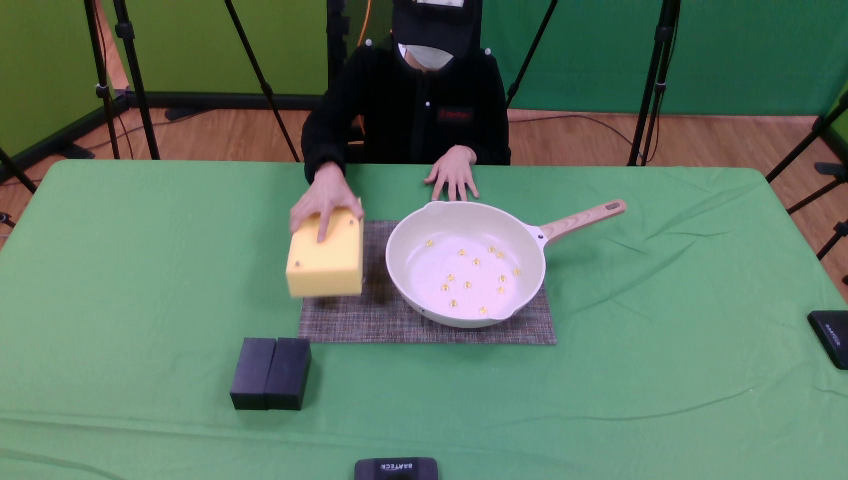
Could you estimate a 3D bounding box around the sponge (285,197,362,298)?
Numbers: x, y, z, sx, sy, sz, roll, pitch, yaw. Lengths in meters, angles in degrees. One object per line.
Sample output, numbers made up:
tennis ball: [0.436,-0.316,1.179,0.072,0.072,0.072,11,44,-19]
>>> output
sponge: [-0.172,0.008,1.071,0.118,0.061,0.205,-4,39,-2]

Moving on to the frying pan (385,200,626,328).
frying pan: [0.169,0.014,1.137,0.488,0.103,0.304,-19,51,-11]
